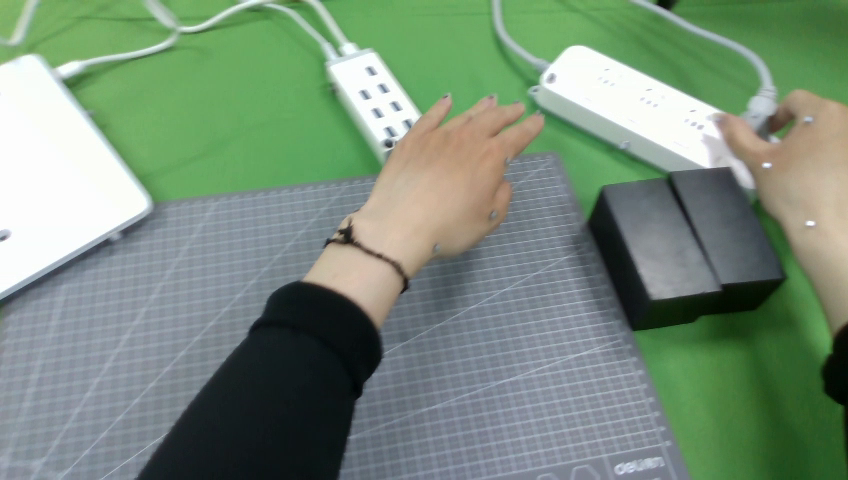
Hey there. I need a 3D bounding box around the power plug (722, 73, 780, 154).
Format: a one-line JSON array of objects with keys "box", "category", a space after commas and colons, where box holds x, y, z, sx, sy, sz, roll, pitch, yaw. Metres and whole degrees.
[{"box": [0.281, -0.098, 0.510, 0.072, 0.053, 0.035, -37, 64, -21], "category": "power plug"}]

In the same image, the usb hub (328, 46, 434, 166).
[{"box": [-0.041, -0.124, 0.549, 0.049, 0.025, 0.124, -24, 61, -15], "category": "usb hub"}]

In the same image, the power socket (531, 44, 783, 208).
[{"box": [0.204, -0.106, 0.538, 0.225, 0.033, 0.072, 34, 62, 19], "category": "power socket"}]

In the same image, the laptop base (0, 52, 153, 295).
[{"box": [-0.420, -0.006, 0.468, 0.354, 0.023, 0.233, -35, 67, -21], "category": "laptop base"}]

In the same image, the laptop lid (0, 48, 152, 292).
[{"box": [-0.419, -0.011, 0.457, 0.357, 0.013, 0.239, -34, 66, -20], "category": "laptop lid"}]
